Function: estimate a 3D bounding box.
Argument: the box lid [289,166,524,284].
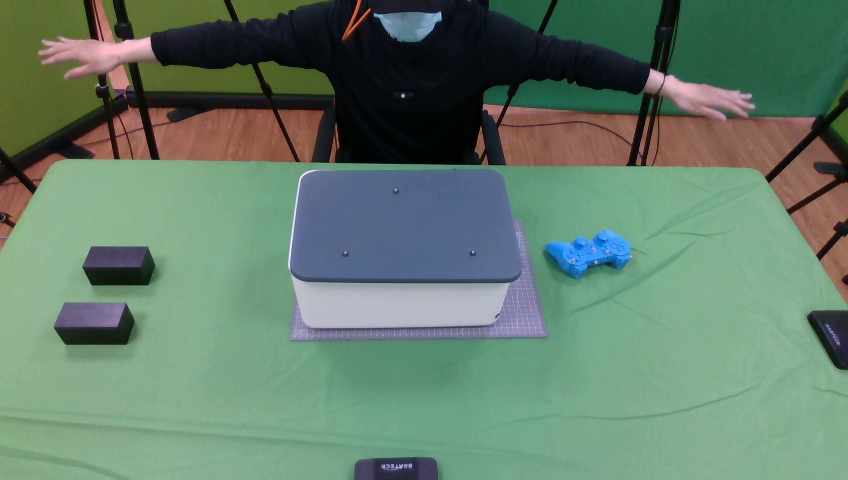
[{"bbox_3d":[-0.028,-0.032,1.013,0.372,0.015,0.261,0,48,-5],"label":"box lid"}]

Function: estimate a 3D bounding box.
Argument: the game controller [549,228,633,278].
[{"bbox_3d":[0.331,0.016,1.182,0.155,0.052,0.096,-12,52,-13],"label":"game controller"}]

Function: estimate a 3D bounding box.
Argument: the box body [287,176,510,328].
[{"bbox_3d":[-0.040,0.015,1.075,0.364,0.161,0.252,-1,47,-4],"label":"box body"}]
